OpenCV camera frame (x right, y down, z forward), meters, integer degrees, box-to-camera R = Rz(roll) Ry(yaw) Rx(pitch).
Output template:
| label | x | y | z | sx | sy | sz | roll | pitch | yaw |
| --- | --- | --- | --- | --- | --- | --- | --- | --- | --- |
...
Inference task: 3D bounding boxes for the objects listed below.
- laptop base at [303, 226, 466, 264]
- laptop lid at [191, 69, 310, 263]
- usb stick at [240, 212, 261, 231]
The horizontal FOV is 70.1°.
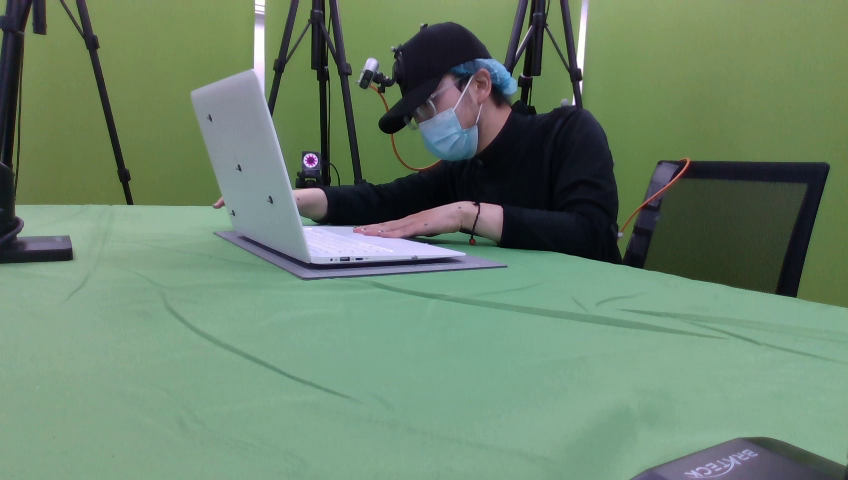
| label | x | y | z | sx | sy | sz | roll | pitch | yaw |
| --- | --- | --- | --- | --- | --- | --- | --- | --- | --- |
| laptop base | -0.127 | 0.006 | 0.936 | 0.237 | 0.023 | 0.352 | 2 | 6 | -33 |
| laptop lid | -0.253 | -0.102 | 0.840 | 0.013 | 0.242 | 0.355 | -22 | 20 | -28 |
| usb stick | -0.301 | -0.031 | 1.057 | 0.021 | 0.027 | 0.059 | -6 | 19 | -36 |
